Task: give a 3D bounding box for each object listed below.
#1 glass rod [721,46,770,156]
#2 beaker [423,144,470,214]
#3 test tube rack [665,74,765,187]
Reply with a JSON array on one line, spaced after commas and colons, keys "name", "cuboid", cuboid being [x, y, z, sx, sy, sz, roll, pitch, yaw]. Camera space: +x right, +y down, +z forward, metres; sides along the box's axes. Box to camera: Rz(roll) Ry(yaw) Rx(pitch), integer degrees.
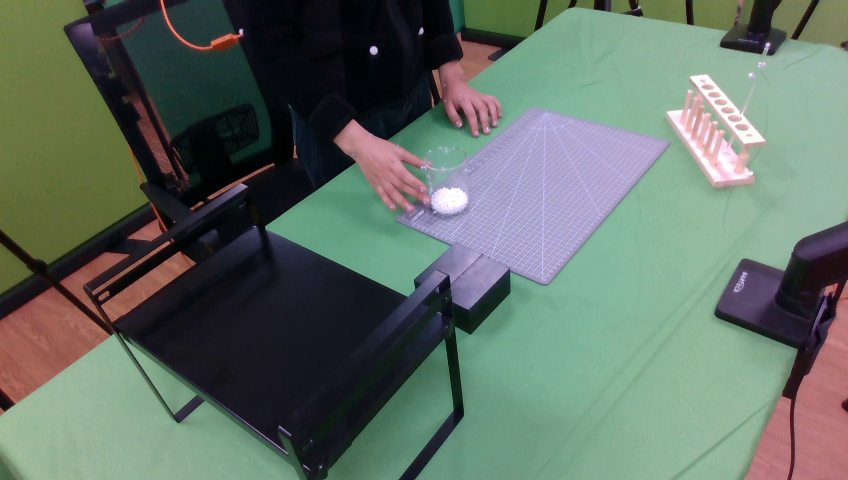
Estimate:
[{"name": "glass rod", "cuboid": [0.533, -0.226, 1.006, 0.008, 0.200, 0.008, 1, 41, -1]}, {"name": "beaker", "cuboid": [0.040, -0.102, 1.023, 0.074, 0.101, 0.083, -3, 41, 4]}, {"name": "test tube rack", "cuboid": [0.512, -0.201, 1.082, 0.067, 0.085, 0.241, -6, 41, 2]}]
